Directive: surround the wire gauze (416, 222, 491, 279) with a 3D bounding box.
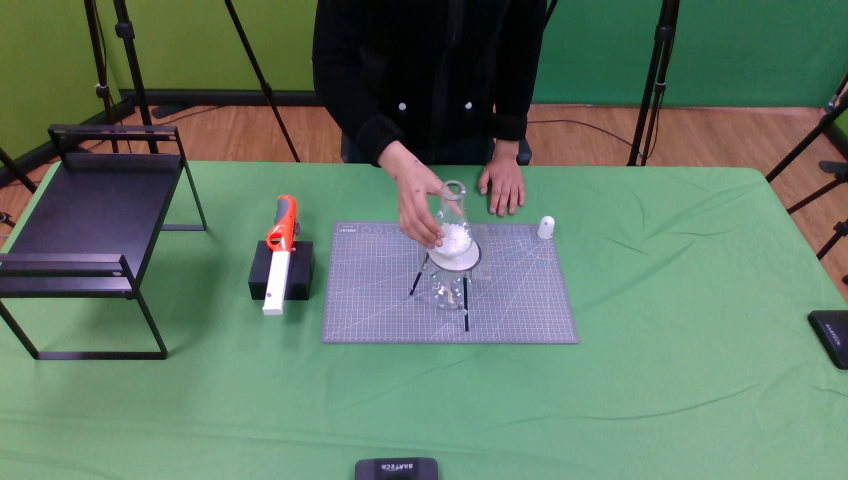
[{"bbox_3d":[0.048,0.014,1.013,0.125,0.011,0.120,3,47,-3],"label":"wire gauze"}]

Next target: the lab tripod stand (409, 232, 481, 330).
[{"bbox_3d":[0.051,0.064,1.060,0.148,0.132,0.147,4,46,-4],"label":"lab tripod stand"}]

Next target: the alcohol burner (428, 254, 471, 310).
[{"bbox_3d":[0.046,0.068,1.070,0.078,0.119,0.077,3,45,-3],"label":"alcohol burner"}]

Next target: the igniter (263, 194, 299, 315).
[{"bbox_3d":[-0.259,0.016,1.093,0.057,0.025,0.274,-3,49,-2],"label":"igniter"}]

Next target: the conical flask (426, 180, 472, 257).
[{"bbox_3d":[0.041,-0.037,0.940,0.075,0.122,0.075,0,49,0],"label":"conical flask"}]

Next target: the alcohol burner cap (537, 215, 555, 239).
[{"bbox_3d":[0.249,-0.029,1.228,0.034,0.048,0.033,1,48,-1],"label":"alcohol burner cap"}]
